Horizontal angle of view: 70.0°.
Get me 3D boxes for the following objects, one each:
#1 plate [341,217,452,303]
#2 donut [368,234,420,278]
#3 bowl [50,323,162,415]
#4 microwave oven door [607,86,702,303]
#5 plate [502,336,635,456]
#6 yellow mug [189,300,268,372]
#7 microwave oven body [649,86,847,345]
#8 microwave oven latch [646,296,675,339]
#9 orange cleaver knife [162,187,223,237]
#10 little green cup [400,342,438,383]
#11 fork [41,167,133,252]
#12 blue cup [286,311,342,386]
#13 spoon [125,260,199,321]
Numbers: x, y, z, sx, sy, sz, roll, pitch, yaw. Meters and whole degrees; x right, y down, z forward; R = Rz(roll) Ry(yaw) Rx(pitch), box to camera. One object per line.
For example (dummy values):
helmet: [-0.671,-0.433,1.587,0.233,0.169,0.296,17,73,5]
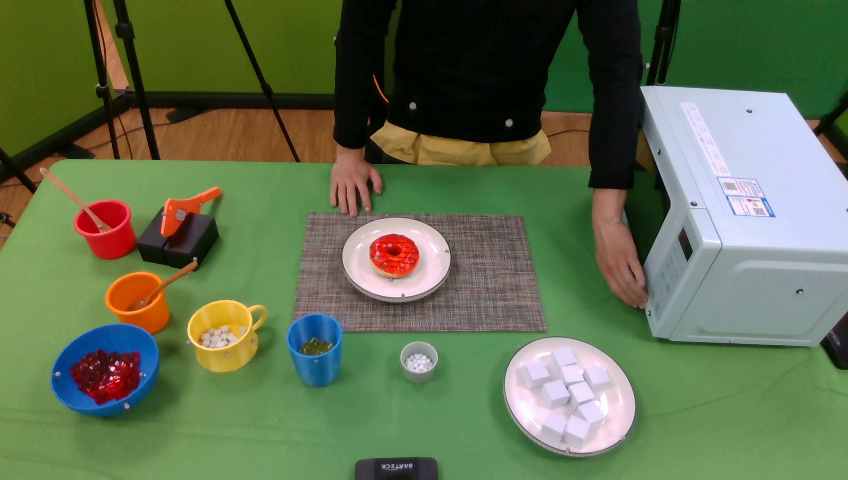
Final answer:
plate: [-0.052,0.040,1.140,0.209,0.038,0.208,2,46,-2]
donut: [-0.056,0.030,1.134,0.099,0.048,0.098,4,46,-4]
bowl: [-0.472,0.209,0.924,0.151,0.077,0.150,2,45,-2]
microwave oven door: [0.423,-0.094,1.141,0.039,0.245,0.353,2,46,-1]
plate: [0.225,0.248,0.963,0.208,0.039,0.206,2,46,-2]
yellow mug: [-0.315,0.149,1.002,0.131,0.064,0.099,-32,56,-31]
microwave oven body: [0.568,-0.053,1.118,0.326,0.261,0.439,2,45,-1]
microwave oven latch: [0.412,0.134,1.061,0.030,0.029,0.078,4,45,1]
orange cleaver knife: [-0.448,-0.058,1.181,0.012,0.077,0.211,13,17,6]
little green cup: [-0.009,0.202,0.991,0.061,0.039,0.061,2,46,-2]
fork: [-0.624,-0.055,1.121,0.208,0.018,0.028,50,51,-15]
blue cup: [-0.170,0.180,0.958,0.093,0.101,0.092,2,44,-1]
spoon: [-0.434,0.083,1.000,0.022,0.194,0.041,35,33,-34]
